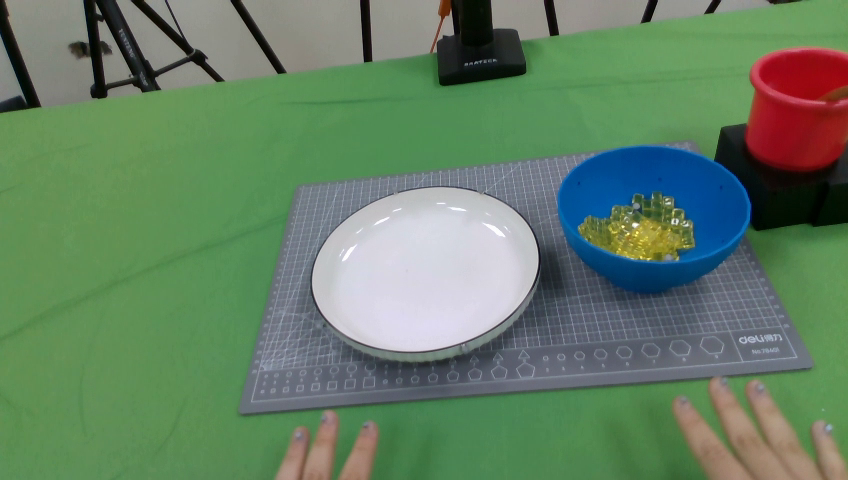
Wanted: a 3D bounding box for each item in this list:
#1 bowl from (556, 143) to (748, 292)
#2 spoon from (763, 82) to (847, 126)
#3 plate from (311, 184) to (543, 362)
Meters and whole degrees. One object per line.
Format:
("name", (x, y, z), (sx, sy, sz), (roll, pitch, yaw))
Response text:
("bowl", (0.189, -0.009, 0.523), (0.151, 0.077, 0.150), (-6, 44, 6))
("spoon", (0.325, -0.113, 0.487), (0.041, 0.021, 0.194), (0, 1, 9))
("plate", (0.003, 0.028, 0.552), (0.207, 0.039, 0.205), (-6, 44, 6))
